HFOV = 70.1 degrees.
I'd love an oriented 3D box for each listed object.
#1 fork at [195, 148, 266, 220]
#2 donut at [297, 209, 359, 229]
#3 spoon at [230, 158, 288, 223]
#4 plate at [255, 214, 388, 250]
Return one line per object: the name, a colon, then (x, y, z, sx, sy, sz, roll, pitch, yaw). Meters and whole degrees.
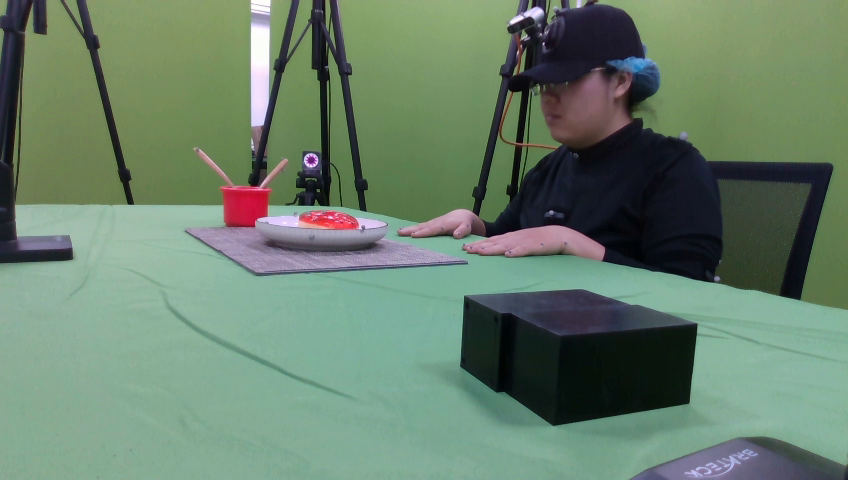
fork: (-0.386, -0.110, 1.199, 0.028, 0.207, 0.018, -38, -6, -39)
donut: (-0.151, -0.023, 0.955, 0.099, 0.048, 0.099, 6, 7, 0)
spoon: (-0.322, -0.101, 1.206, 0.041, 0.022, 0.194, 13, 55, 22)
plate: (-0.161, -0.013, 0.961, 0.209, 0.038, 0.209, 2, 7, 0)
